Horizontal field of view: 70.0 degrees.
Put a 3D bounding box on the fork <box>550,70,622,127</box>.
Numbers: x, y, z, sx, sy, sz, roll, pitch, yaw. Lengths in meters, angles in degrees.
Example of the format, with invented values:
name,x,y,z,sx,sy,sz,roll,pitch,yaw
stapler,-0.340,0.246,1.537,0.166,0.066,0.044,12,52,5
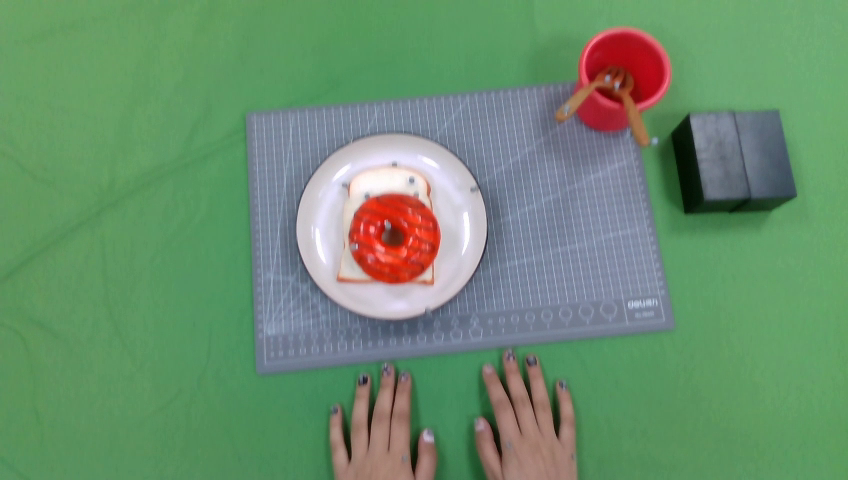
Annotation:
name,x,y,z,sx,sy,sz,roll,pitch,yaw
fork,0.172,-0.152,0.635,0.028,0.019,0.207,29,35,18

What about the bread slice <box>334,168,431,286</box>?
name,x,y,z,sx,sy,sz,roll,pitch,yaw
bread slice,-0.044,-0.016,0.665,0.105,0.019,0.131,1,77,-2

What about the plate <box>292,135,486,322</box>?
name,x,y,z,sx,sy,sz,roll,pitch,yaw
plate,-0.037,-0.011,0.661,0.209,0.038,0.208,0,76,-1

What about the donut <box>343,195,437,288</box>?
name,x,y,z,sx,sy,sz,roll,pitch,yaw
donut,-0.035,0.001,0.631,0.099,0.048,0.098,1,80,-3

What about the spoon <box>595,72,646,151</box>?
name,x,y,z,sx,sy,sz,roll,pitch,yaw
spoon,0.208,-0.140,0.640,0.041,0.022,0.192,3,31,6
